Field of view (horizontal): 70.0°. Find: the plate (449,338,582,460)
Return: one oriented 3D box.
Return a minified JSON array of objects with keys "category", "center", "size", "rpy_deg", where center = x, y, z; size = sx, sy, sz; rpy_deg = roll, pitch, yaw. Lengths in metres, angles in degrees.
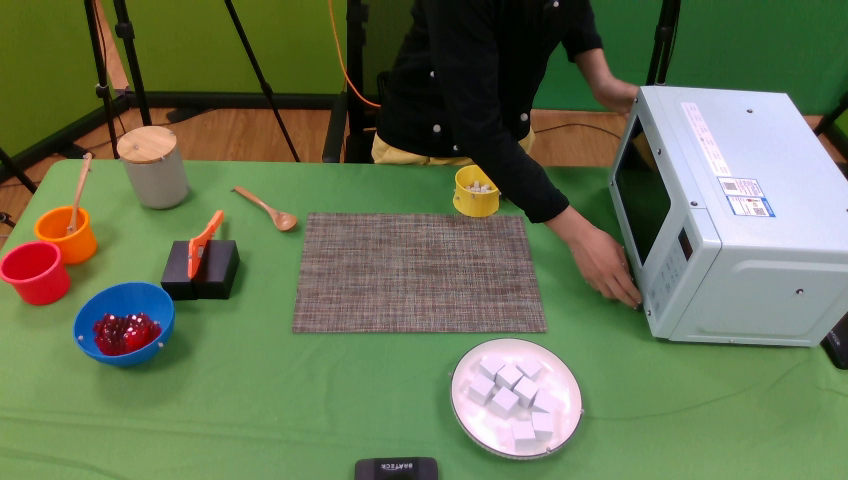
[{"category":"plate","center":[0.141,0.251,0.956],"size":[0.208,0.039,0.206],"rpy_deg":[2,46,-2]}]

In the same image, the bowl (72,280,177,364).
[{"category":"bowl","center":[-0.473,0.146,0.982],"size":[0.151,0.077,0.150],"rpy_deg":[2,46,-2]}]

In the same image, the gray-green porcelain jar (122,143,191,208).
[{"category":"gray-green porcelain jar","center":[-0.531,-0.137,1.214],"size":[0.106,0.127,0.105],"rpy_deg":[2,47,-2]}]

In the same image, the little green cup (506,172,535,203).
[{"category":"little green cup","center":[0.205,-0.111,1.301],"size":[0.061,0.039,0.061],"rpy_deg":[5,46,-5]}]

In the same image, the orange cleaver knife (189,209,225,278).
[{"category":"orange cleaver knife","center":[-0.401,0.002,1.122],"size":[0.012,0.077,0.210],"rpy_deg":[4,23,-4]}]

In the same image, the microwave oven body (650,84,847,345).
[{"category":"microwave oven body","center":[0.569,-0.054,1.116],"size":[0.326,0.261,0.439],"rpy_deg":[2,46,-1]}]

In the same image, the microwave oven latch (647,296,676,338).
[{"category":"microwave oven latch","center":[0.413,0.133,1.060],"size":[0.030,0.029,0.078],"rpy_deg":[4,46,1]}]

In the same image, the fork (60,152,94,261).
[{"category":"fork","center":[-0.638,-0.063,1.120],"size":[0.028,0.018,0.207],"rpy_deg":[12,90,7]}]

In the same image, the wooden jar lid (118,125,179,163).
[{"category":"wooden jar lid","center":[-0.528,-0.181,1.167],"size":[0.108,0.021,0.107],"rpy_deg":[4,48,-4]}]

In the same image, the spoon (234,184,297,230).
[{"category":"spoon","center":[-0.327,-0.073,1.240],"size":[0.193,0.022,0.041],"rpy_deg":[34,71,25]}]

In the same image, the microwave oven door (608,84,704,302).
[{"category":"microwave oven door","center":[0.424,-0.096,1.138],"size":[0.039,0.245,0.353],"rpy_deg":[3,46,-1]}]

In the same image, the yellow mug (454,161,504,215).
[{"category":"yellow mug","center":[0.117,-0.119,1.283],"size":[0.100,0.064,0.130],"rpy_deg":[8,44,5]}]
